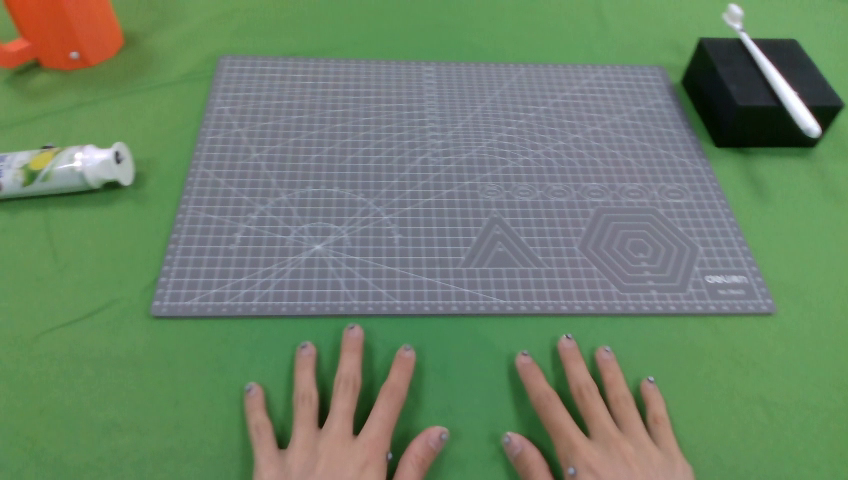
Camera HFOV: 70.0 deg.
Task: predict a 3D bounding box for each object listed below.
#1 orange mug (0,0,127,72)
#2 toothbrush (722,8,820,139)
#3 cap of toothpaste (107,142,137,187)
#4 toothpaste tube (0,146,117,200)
[{"bbox_3d":[-0.349,-0.213,0.553,0.083,0.101,0.126,34,52,21],"label":"orange mug"},{"bbox_3d":[0.313,-0.156,0.550,0.014,0.017,0.180,0,52,-9],"label":"toothbrush"},{"bbox_3d":[-0.239,-0.059,0.478,0.011,0.037,0.037,-7,52,-5],"label":"cap of toothpaste"},{"bbox_3d":[-0.318,-0.052,0.474,0.165,0.035,0.054,-6,48,-5],"label":"toothpaste tube"}]
